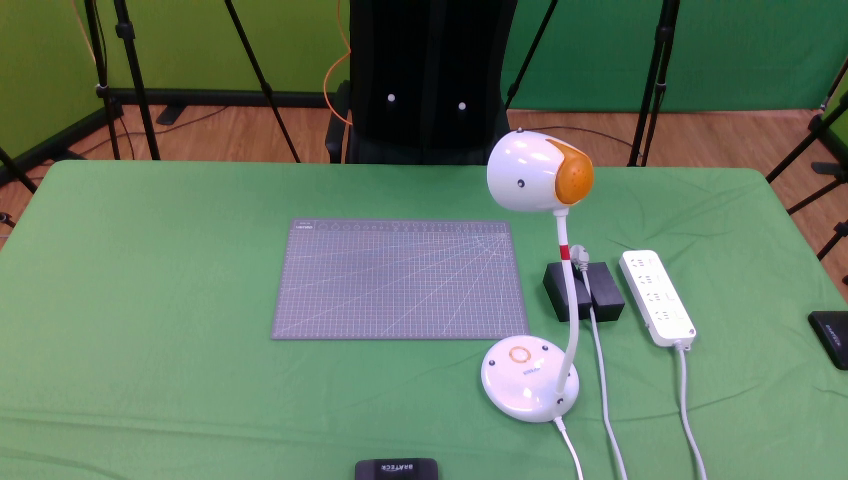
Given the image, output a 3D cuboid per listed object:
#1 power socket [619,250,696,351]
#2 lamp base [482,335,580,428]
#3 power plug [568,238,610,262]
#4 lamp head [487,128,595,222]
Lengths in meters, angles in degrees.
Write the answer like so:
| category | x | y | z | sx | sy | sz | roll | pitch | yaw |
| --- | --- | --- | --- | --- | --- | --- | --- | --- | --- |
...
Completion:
| category | x | y | z | sx | sy | sz | roll | pitch | yaw |
| --- | --- | --- | --- | --- | --- | --- | --- | --- | --- |
| power socket | 0.428 | 0.103 | 1.121 | 0.072 | 0.033 | 0.225 | -3 | 46 | -6 |
| lamp base | 0.185 | 0.177 | 0.928 | 0.161 | 0.181 | 0.178 | -22 | 53 | -23 |
| power plug | 0.305 | 0.020 | 1.130 | 0.073 | 0.052 | 0.035 | -9 | 90 | -20 |
| lamp head | 0.160 | -0.084 | 0.791 | 0.112 | 0.113 | 0.122 | -24 | 28 | -25 |
